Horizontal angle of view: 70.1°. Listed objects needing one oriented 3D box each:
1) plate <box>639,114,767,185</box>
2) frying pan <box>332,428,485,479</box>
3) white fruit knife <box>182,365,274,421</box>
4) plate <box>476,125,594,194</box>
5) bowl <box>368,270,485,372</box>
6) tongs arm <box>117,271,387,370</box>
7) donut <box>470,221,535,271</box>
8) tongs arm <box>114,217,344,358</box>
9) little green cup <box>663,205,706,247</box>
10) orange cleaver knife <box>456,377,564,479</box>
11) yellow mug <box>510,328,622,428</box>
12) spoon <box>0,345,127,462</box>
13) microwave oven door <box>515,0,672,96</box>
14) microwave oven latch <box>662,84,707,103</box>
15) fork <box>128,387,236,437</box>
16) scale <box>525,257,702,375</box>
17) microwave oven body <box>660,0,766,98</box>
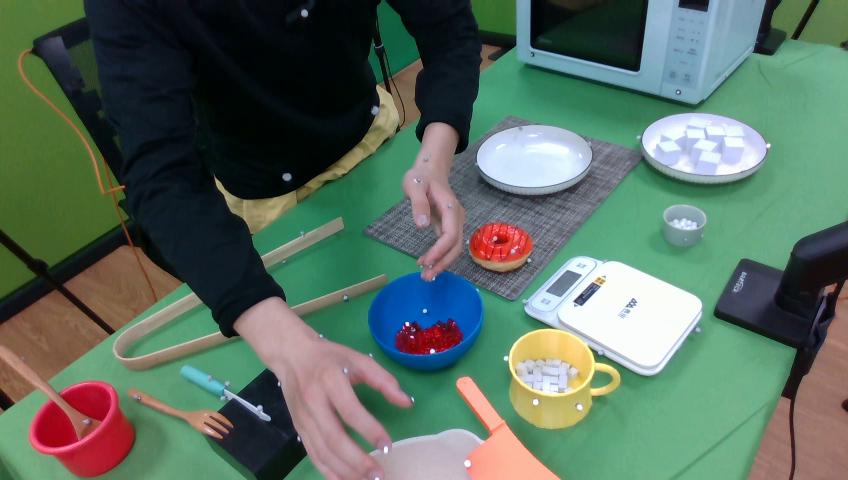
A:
[{"bbox_3d":[0.489,-0.157,1.074,0.207,0.039,0.206,-4,40,4],"label":"plate"},{"bbox_3d":[-0.089,0.305,0.564,0.487,0.103,0.306,10,42,7],"label":"frying pan"},{"bbox_3d":[-0.245,0.188,0.747,0.205,0.027,0.016,9,41,41],"label":"white fruit knife"},{"bbox_3d":[0.199,-0.141,1.093,0.209,0.038,0.208,-4,40,4],"label":"plate"},{"bbox_3d":[0.007,0.118,0.791,0.151,0.077,0.150,-5,40,4],"label":"bowl"},{"bbox_3d":[-0.236,0.113,0.869,0.389,0.028,0.028,-18,48,-12],"label":"tongs arm"},{"bbox_3d":[0.119,0.009,0.923,0.099,0.048,0.098,-3,38,3],"label":"donut"},{"bbox_3d":[-0.280,0.067,0.927,0.386,0.026,0.050,-29,48,-23],"label":"tongs arm"},{"bbox_3d":[0.396,-0.020,0.926,0.061,0.039,0.061,-4,40,4],"label":"little green cup"},{"bbox_3d":[0.081,0.220,0.611,0.077,0.012,0.209,-26,43,-22],"label":"orange cleaver knife"},{"bbox_3d":[0.168,0.164,0.722,0.130,0.064,0.099,0,40,8],"label":"yellow mug"},{"bbox_3d":[-0.434,0.192,0.720,0.194,0.021,0.042,47,53,-7],"label":"spoon"},{"bbox_3d":[0.343,-0.454,1.259,0.353,0.245,0.039,26,51,33],"label":"microwave oven door"},{"bbox_3d":[0.517,-0.296,1.204,0.078,0.029,0.030,27,52,35],"label":"microwave oven latch"},{"bbox_3d":[-0.305,0.207,0.744,0.206,0.019,0.028,3,41,36],"label":"fork"},{"bbox_3d":[0.254,0.091,0.821,0.199,0.032,0.149,28,51,35],"label":"scale"},{"bbox_3d":[0.472,-0.513,1.317,0.438,0.261,0.327,26,51,34],"label":"microwave oven body"}]
